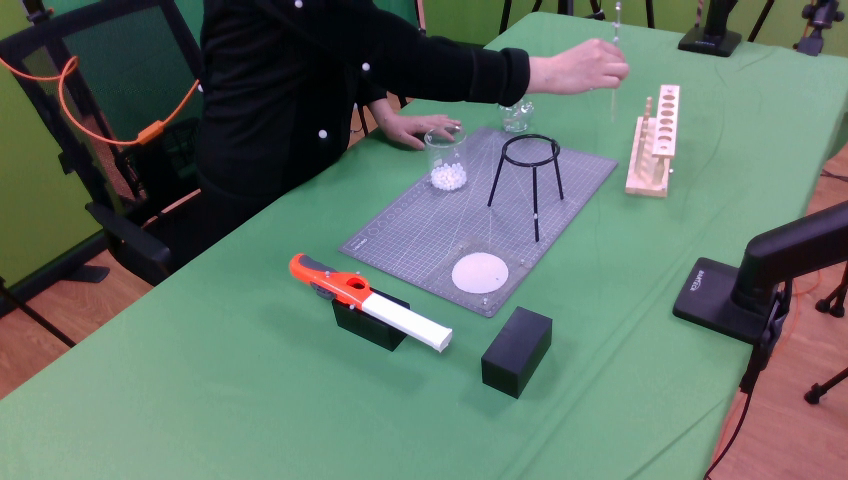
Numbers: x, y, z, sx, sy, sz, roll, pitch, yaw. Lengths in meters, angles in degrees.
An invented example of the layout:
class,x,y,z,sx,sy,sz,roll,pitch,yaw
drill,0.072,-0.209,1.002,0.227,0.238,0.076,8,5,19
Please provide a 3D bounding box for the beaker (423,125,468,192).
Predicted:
class,x,y,z,sx,sy,sz,roll,pitch,yaw
beaker,0.043,-0.144,1.078,0.073,0.100,0.084,28,51,34

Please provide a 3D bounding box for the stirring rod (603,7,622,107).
class,x,y,z,sx,sy,sz,roll,pitch,yaw
stirring rod,0.289,-0.276,0.931,0.006,0.177,0.014,26,61,26

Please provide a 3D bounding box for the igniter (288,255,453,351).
class,x,y,z,sx,sy,sz,roll,pitch,yaw
igniter,-0.083,0.079,0.818,0.274,0.025,0.057,22,46,27

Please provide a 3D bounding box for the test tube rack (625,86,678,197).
class,x,y,z,sx,sy,sz,roll,pitch,yaw
test tube rack,0.412,-0.184,1.088,0.066,0.085,0.242,9,43,18

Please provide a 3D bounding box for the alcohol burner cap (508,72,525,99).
class,x,y,z,sx,sy,sz,roll,pitch,yaw
alcohol burner cap,0.181,-0.306,1.186,0.034,0.048,0.033,-7,39,6

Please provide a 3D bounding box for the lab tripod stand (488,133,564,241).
class,x,y,z,sx,sy,sz,roll,pitch,yaw
lab tripod stand,0.168,-0.093,0.972,0.148,0.132,0.147,-5,41,5

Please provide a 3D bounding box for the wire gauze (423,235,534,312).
class,x,y,z,sx,sy,sz,roll,pitch,yaw
wire gauze,0.082,0.049,0.914,0.120,0.011,0.125,26,53,32

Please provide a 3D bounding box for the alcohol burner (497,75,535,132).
class,x,y,z,sx,sy,sz,roll,pitch,yaw
alcohol burner,0.184,-0.278,1.210,0.078,0.119,0.077,-3,43,3
